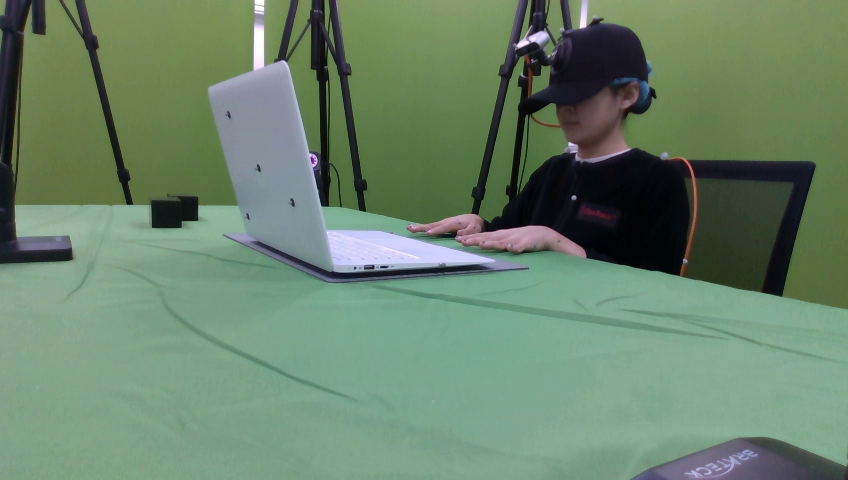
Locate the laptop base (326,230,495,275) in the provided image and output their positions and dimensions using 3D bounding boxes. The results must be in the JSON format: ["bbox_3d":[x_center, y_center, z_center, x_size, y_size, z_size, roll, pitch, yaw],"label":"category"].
[{"bbox_3d":[-0.093,0.015,0.884,0.237,0.023,0.352,3,6,-33],"label":"laptop base"}]

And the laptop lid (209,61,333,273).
[{"bbox_3d":[-0.213,-0.095,0.790,0.013,0.241,0.355,-18,18,-29],"label":"laptop lid"}]
